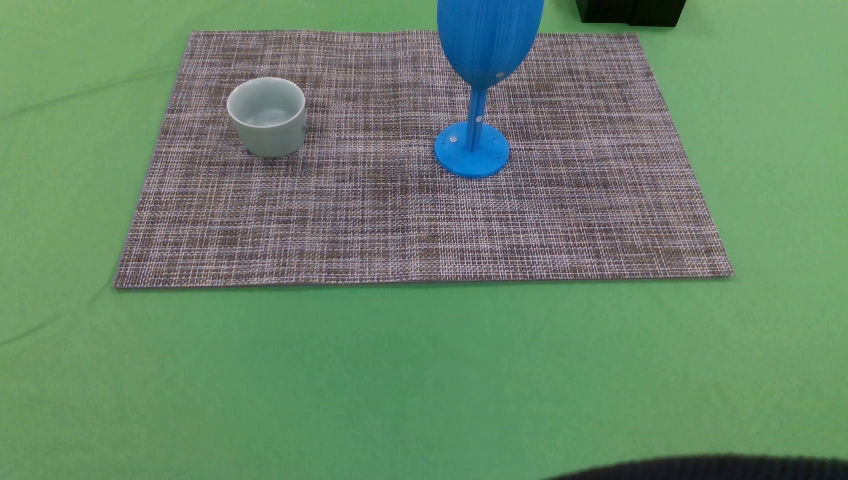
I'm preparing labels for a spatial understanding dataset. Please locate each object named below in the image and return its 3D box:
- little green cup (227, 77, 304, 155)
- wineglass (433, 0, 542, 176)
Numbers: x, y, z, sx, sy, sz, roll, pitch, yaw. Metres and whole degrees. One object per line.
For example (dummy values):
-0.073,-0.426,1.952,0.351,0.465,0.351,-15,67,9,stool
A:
-0.129,-0.101,0.502,0.061,0.039,0.061,1,53,-1,little green cup
0.042,-0.130,0.448,0.074,0.173,0.073,1,53,-1,wineglass
